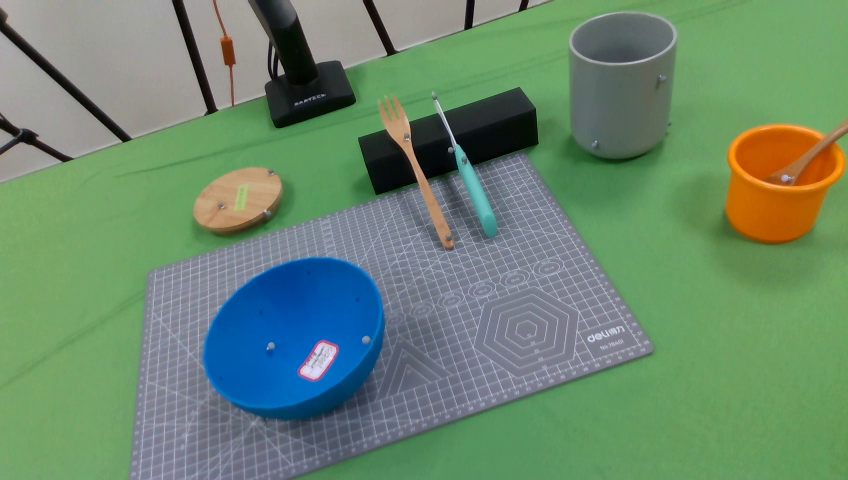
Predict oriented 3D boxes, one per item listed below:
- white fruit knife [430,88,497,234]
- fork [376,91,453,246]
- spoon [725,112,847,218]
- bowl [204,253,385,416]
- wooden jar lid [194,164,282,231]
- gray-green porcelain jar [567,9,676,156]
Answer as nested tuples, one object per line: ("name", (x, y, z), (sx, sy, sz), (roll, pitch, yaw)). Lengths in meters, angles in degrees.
("white fruit knife", (0.037, -0.095, 0.661), (0.016, 0.028, 0.205), (-18, 59, -4))
("fork", (-0.010, -0.082, 0.659), (0.028, 0.019, 0.205), (-18, 64, -10))
("spoon", (0.347, -0.086, 0.523), (0.022, 0.194, 0.041), (20, 39, -29))
("bowl", (-0.099, 0.092, 0.518), (0.151, 0.077, 0.150), (-8, 46, 8))
("wooden jar lid", (-0.222, -0.050, 0.731), (0.108, 0.021, 0.107), (-6, 46, 7))
("gray-green porcelain jar", (0.208, -0.163, 0.649), (0.106, 0.128, 0.105), (-8, 46, 8))
